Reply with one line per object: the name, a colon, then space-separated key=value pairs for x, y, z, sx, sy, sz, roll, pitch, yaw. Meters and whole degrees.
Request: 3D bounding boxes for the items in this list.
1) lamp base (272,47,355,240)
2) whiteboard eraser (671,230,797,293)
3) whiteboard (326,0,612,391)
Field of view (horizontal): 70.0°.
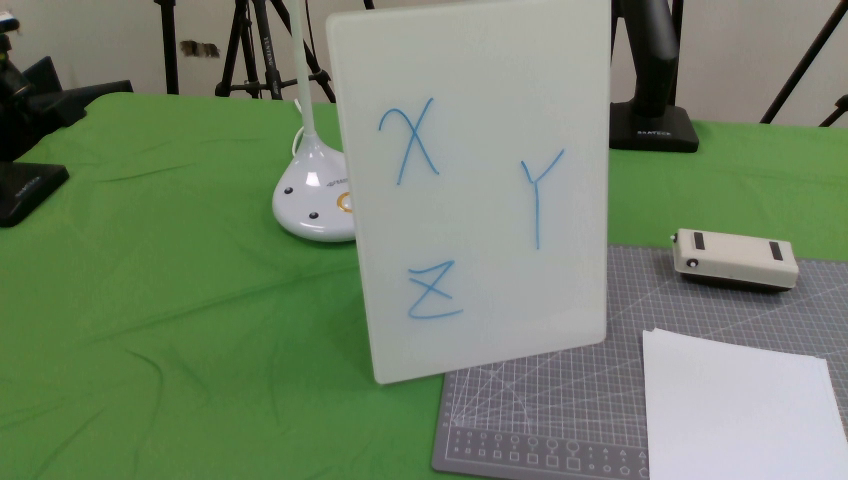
lamp base: x=-0.112 y=-0.118 z=0.694 sx=0.161 sy=0.182 sz=0.177 roll=-28 pitch=43 yaw=-30
whiteboard eraser: x=0.313 y=0.023 z=0.619 sx=0.112 sy=0.042 sz=0.055 roll=9 pitch=40 yaw=12
whiteboard: x=0.038 y=-0.050 z=0.553 sx=0.217 sy=0.307 sz=0.142 roll=-8 pitch=20 yaw=-8
